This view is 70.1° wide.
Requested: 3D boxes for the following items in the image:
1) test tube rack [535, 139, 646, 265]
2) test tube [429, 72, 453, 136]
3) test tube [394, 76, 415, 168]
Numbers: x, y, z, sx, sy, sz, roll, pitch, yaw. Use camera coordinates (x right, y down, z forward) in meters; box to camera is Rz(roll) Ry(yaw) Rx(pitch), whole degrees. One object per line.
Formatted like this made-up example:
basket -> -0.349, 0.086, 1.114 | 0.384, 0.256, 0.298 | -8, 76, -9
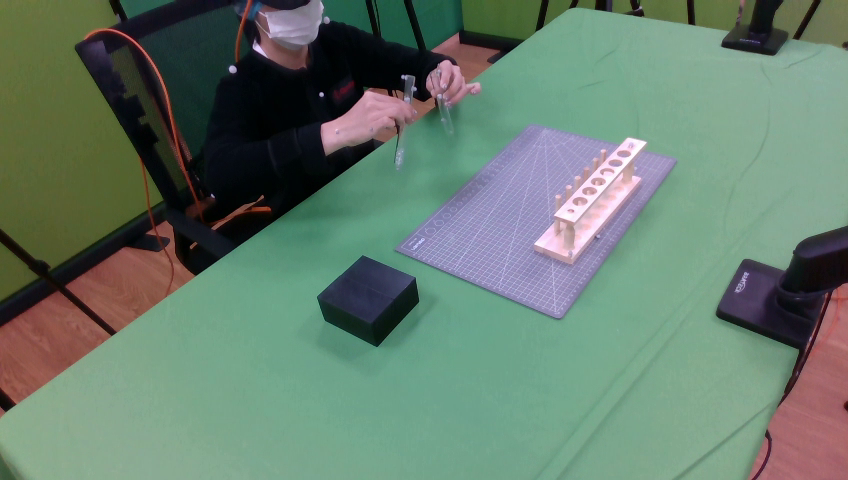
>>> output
test tube rack -> 0.269, -0.071, 0.964 | 0.066, 0.085, 0.243 | 23, 49, 32
test tube -> 0.032, -0.239, 1.076 | 0.017, 0.151, 0.017 | -7, 56, 11
test tube -> -0.032, -0.192, 0.996 | 0.017, 0.150, 0.017 | 9, 16, -2
